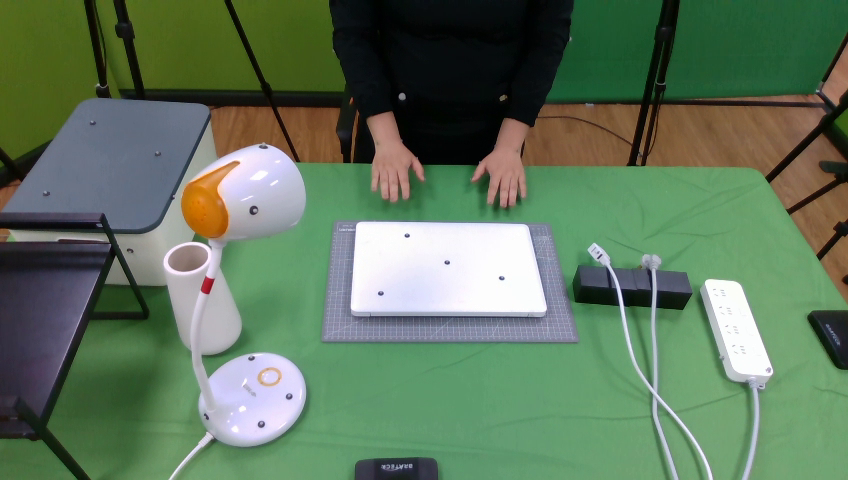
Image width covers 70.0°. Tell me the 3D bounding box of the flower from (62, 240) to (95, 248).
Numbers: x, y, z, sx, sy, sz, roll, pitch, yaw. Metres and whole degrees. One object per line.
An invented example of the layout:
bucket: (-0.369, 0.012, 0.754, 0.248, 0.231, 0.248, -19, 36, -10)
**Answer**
flower: (-0.557, -0.053, 1.195, 0.044, 0.038, 0.361, 47, 54, 2)

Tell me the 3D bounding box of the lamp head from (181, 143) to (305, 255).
lamp head: (-0.216, -0.044, 0.697, 0.112, 0.113, 0.123, 23, 31, 17)

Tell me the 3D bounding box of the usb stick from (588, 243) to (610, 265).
usb stick: (0.336, 0.024, 1.172, 0.027, 0.021, 0.059, 33, 16, -13)

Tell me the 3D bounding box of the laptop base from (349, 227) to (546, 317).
laptop base: (0.040, 0.055, 1.149, 0.355, 0.023, 0.234, 1, 42, -4)

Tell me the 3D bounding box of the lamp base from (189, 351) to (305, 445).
lamp base: (-0.268, 0.196, 0.876, 0.160, 0.181, 0.179, 26, 52, 20)

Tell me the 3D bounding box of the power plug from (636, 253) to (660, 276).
power plug: (0.415, 0.050, 1.139, 0.035, 0.053, 0.072, 46, 48, 10)

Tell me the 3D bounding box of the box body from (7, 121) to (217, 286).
box body: (-0.560, -0.092, 1.145, 0.254, 0.161, 0.361, 3, 46, -2)

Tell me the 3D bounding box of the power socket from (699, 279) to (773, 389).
power socket: (0.551, 0.157, 1.081, 0.072, 0.033, 0.225, 5, 46, 1)

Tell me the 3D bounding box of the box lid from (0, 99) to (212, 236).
box lid: (-0.556, -0.143, 1.090, 0.263, 0.015, 0.369, 2, 46, -1)

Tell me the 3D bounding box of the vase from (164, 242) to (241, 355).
vase: (-0.349, 0.096, 0.954, 0.098, 0.201, 0.097, 3, 47, -3)

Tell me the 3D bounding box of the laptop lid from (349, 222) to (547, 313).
laptop lid: (0.041, 0.045, 1.143, 0.357, 0.013, 0.240, 2, 44, -3)
